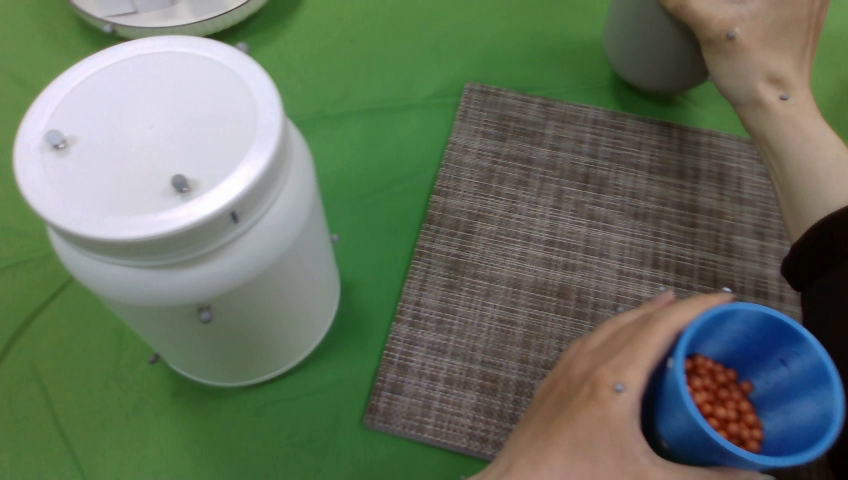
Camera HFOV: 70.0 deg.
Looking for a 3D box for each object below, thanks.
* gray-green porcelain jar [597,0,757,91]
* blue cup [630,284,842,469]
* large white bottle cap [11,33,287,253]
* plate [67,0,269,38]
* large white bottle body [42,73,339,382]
[{"bbox_3d":[0.196,-0.188,0.466,0.106,0.127,0.105,0,63,1],"label":"gray-green porcelain jar"},{"bbox_3d":[0.163,0.091,0.346,0.093,0.101,0.092,1,62,-2],"label":"blue cup"},{"bbox_3d":[-0.120,-0.047,0.271,0.115,0.018,0.114,1,61,-2],"label":"large white bottle cap"},{"bbox_3d":[-0.227,-0.256,0.562,0.208,0.039,0.206,1,61,-1],"label":"plate"},{"bbox_3d":[-0.122,-0.006,0.345,0.131,0.186,0.129,1,61,-1],"label":"large white bottle body"}]
